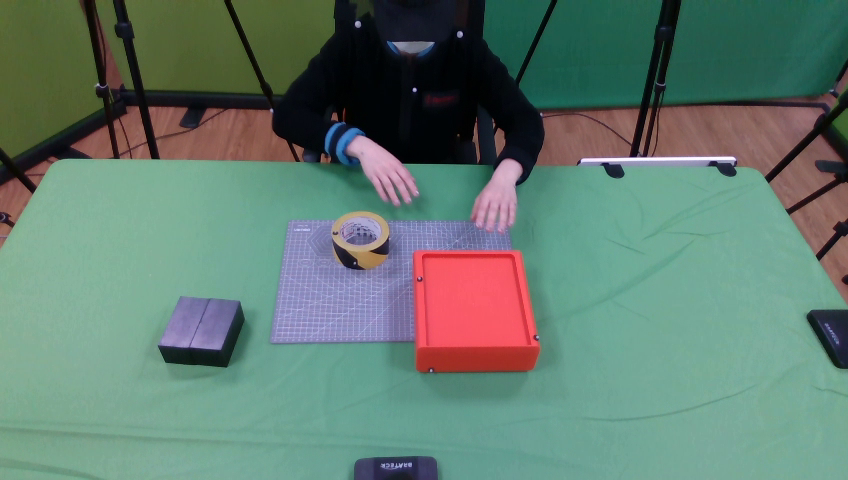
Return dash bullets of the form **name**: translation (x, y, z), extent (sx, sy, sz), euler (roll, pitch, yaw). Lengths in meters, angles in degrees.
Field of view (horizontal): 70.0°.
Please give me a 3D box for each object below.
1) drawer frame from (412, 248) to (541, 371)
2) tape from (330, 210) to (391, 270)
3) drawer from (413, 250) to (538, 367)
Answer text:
- **drawer frame**: translation (0.082, 0.116, 1.046), extent (0.202, 0.083, 0.212), euler (0, 47, -4)
- **tape**: translation (-0.123, -0.002, 1.164), extent (0.117, 0.053, 0.116), euler (3, 46, -3)
- **drawer**: translation (0.081, 0.114, 1.047), extent (0.195, 0.073, 0.210), euler (1, 47, -4)
